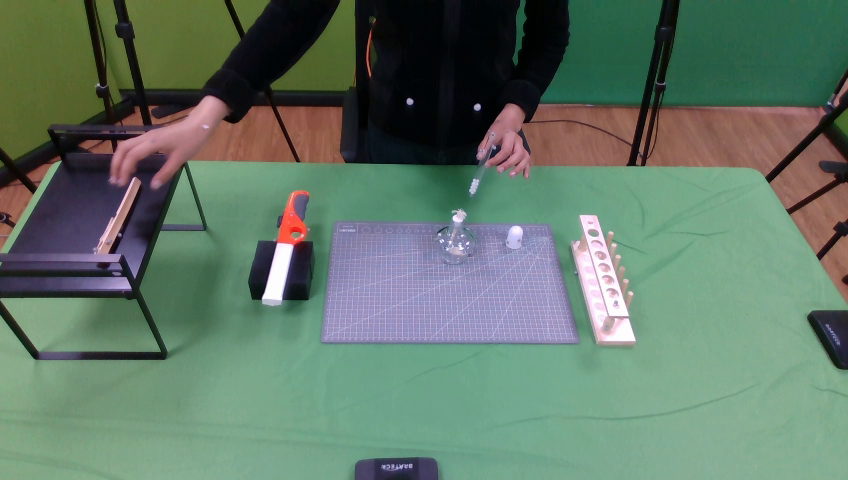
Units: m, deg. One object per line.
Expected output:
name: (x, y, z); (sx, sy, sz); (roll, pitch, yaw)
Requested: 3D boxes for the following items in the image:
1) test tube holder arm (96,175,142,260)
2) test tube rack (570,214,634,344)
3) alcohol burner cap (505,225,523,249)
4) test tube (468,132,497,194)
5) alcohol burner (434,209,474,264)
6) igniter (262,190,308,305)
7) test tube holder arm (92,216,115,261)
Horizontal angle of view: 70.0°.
test tube holder arm: (-0.473, -0.039, 0.946); (0.013, 0.015, 0.177); (-19, 43, 19)
test tube rack: (0.333, 0.067, 1.116); (0.067, 0.085, 0.241); (1, 46, -3)
alcohol burner cap: (0.180, -0.009, 1.203); (0.034, 0.048, 0.033); (2, 47, -2)
test tube: (0.108, -0.141, 1.144); (0.017, 0.151, 0.017); (8, 48, -9)
alcohol burner: (0.058, -0.012, 1.147); (0.078, 0.119, 0.077); (3, 44, -2)
igniter: (-0.252, 0.003, 1.108); (0.057, 0.025, 0.275); (8, 47, -6)
test tube holder arm: (-0.479, -0.004, 0.917); (0.010, 0.015, 0.087); (-19, 43, 20)
